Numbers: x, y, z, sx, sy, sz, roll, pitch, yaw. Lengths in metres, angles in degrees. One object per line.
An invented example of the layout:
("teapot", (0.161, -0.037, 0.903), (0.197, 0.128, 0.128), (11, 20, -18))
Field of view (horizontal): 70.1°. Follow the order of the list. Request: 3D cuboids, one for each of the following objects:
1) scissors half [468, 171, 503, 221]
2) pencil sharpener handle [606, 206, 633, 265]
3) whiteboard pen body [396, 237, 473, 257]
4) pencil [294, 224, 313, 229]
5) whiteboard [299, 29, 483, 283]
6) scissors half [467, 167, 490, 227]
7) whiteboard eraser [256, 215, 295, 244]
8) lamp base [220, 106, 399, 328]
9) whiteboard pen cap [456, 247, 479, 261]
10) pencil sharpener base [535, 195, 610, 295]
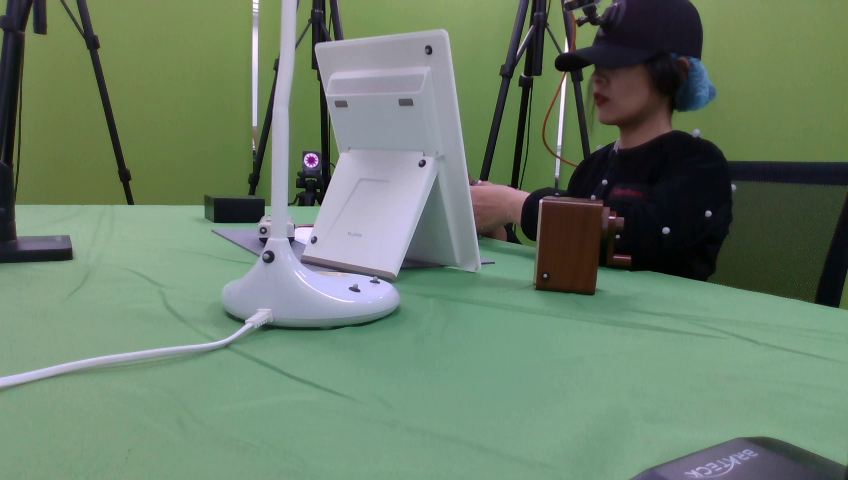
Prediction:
("scissors half", (0.095, -0.113, 1.129), (0.040, 0.175, 0.013), (-32, -5, -15))
("pencil sharpener handle", (0.223, -0.004, 0.683), (0.030, 0.068, 0.036), (5, 20, 17))
("whiteboard pen body", (0.014, 0.012, 0.886), (0.140, 0.017, 0.017), (10, 10, 38))
("pencil", (-0.218, -0.029, 1.207), (0.195, 0.012, 0.012), (-5, 10, -37))
("whiteboard", (-0.074, -0.082, 0.742), (0.216, 0.305, 0.144), (9, 30, 38))
("scissors half", (0.077, -0.105, 1.126), (0.040, 0.175, 0.013), (-18, -8, -7))
("whiteboard eraser", (-0.232, -0.016, 0.951), (0.056, 0.042, 0.112), (2, 7, -12))
("lamp base", (-0.101, -0.023, 0.531), (0.160, 0.180, 0.179), (4, 10, 10))
("whiteboard pen cap", (0.060, 0.020, 0.851), (0.033, 0.018, 0.018), (9, 10, 37))
("pencil sharpener base", (0.172, 0.005, 0.696), (0.076, 0.107, 0.061), (5, 8, 16))
